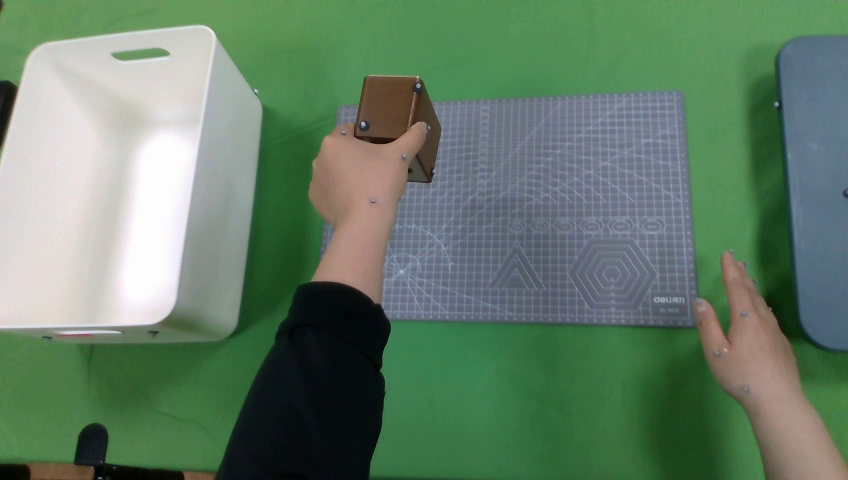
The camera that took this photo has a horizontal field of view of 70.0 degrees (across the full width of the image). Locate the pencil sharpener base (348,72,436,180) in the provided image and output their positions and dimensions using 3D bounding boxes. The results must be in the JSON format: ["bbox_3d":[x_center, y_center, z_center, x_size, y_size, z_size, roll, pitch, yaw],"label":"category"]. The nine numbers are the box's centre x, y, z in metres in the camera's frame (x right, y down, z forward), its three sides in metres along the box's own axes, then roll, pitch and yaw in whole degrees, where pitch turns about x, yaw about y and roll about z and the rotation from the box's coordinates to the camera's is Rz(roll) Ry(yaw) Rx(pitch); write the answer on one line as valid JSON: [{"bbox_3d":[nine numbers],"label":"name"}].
[{"bbox_3d":[-0.031,-0.111,0.625,0.061,0.108,0.076,5,74,13],"label":"pencil sharpener base"}]

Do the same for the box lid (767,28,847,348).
[{"bbox_3d":[0.512,-0.067,0.633,0.263,0.015,0.369,2,73,10],"label":"box lid"}]

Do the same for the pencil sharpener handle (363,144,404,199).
[{"bbox_3d":[-0.038,-0.067,0.599,0.036,0.068,0.030,2,72,24],"label":"pencil sharpener handle"}]

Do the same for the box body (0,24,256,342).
[{"bbox_3d":[-0.364,-0.058,0.750,0.254,0.161,0.361,-3,72,9],"label":"box body"}]
